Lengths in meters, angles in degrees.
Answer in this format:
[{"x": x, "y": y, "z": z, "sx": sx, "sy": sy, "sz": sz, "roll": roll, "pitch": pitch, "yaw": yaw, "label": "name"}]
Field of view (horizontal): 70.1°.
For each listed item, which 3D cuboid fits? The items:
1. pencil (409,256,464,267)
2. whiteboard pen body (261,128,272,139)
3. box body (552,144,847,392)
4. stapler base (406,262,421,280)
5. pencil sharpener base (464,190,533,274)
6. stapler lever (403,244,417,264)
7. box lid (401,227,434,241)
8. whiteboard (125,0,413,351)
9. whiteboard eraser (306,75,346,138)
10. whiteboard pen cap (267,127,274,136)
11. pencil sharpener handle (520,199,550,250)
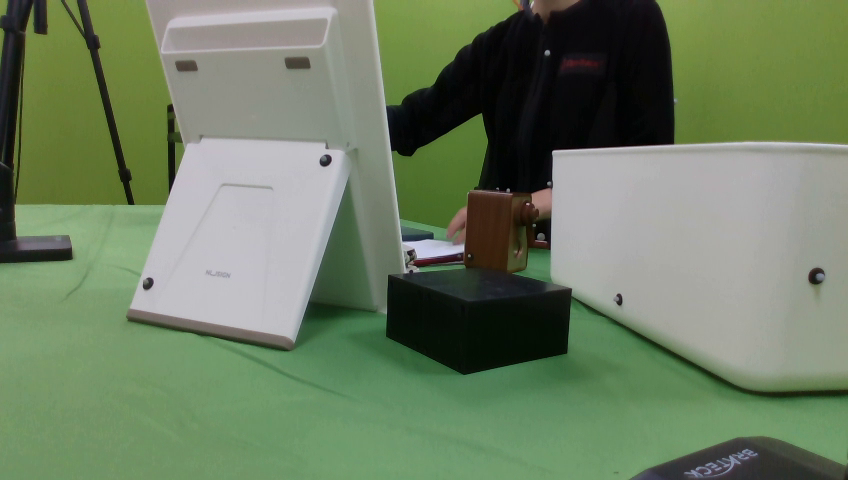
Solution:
[{"x": 0.041, "y": 0.028, "z": 0.850, "sx": 0.195, "sy": 0.012, "sz": 0.012, "roll": -5, "pitch": 11, "yaw": -44, "label": "pencil"}, {"x": -0.361, "y": -0.245, "z": 1.393, "sx": 0.017, "sy": 0.017, "sz": 0.140, "roll": 0, "pitch": 5, "yaw": -20, "label": "whiteboard pen body"}, {"x": 0.290, "y": 0.002, "z": 0.549, "sx": 0.255, "sy": 0.160, "sz": 0.363, "roll": 2, "pitch": 7, "yaw": -10, "label": "box body"}, {"x": -0.069, "y": 0.027, "z": 0.759, "sx": 0.130, "sy": 0.024, "sz": 0.041, "roll": 9, "pitch": 14, "yaw": 23, "label": "stapler base"}, {"x": 0.103, "y": -0.012, "z": 0.813, "sx": 0.076, "sy": 0.107, "sz": 0.061, "roll": 8, "pitch": 9, "yaw": 36, "label": "pencil sharpener base"}, {"x": -0.066, "y": 0.003, "z": 0.754, "sx": 0.117, "sy": 0.040, "sz": 0.027, "roll": 9, "pitch": 13, "yaw": 23, "label": "stapler lever"}, {"x": -0.196, "y": -0.015, "z": 1.105, "sx": 0.373, "sy": 0.015, "sz": 0.262, "roll": -1, "pitch": 7, "yaw": -32, "label": "box lid"}, {"x": -0.151, "y": -0.050, "z": 0.471, "sx": 0.216, "sy": 0.305, "sz": 0.144, "roll": 6, "pitch": 27, "yaw": 24, "label": "whiteboard"}, {"x": -0.146, "y": -0.193, "z": 0.895, "sx": 0.056, "sy": 0.041, "sz": 0.112, "roll": -4, "pitch": -27, "yaw": -12, "label": "whiteboard eraser"}, {"x": -0.340, "y": -0.239, "z": 1.337, "sx": 0.018, "sy": 0.018, "sz": 0.033, "roll": 1, "pitch": -1, "yaw": -14, "label": "whiteboard pen cap"}, {"x": 0.147, "y": -0.019, "z": 0.785, "sx": 0.030, "sy": 0.068, "sz": 0.036, "roll": 8, "pitch": 25, "yaw": 36, "label": "pencil sharpener handle"}]
